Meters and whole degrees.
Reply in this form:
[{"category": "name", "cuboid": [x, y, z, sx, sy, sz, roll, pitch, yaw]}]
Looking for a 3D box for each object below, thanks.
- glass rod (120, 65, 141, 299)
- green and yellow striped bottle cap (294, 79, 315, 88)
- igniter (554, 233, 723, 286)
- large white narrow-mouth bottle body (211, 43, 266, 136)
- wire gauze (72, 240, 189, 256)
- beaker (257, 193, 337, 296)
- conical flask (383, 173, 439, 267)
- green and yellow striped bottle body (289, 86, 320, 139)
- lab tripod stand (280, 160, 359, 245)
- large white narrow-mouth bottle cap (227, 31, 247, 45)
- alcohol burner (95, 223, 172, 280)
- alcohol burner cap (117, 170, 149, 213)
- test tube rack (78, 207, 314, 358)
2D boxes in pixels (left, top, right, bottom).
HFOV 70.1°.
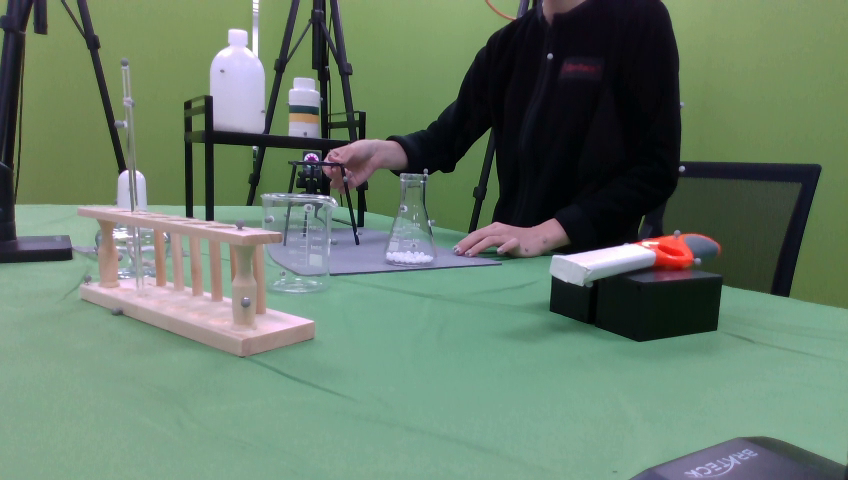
[{"category": "glass rod", "cuboid": [-0.248, -0.047, 0.513, 0.008, 0.199, 0.008, -1, 4, 0]}, {"category": "green and yellow striped bottle cap", "cuboid": [-0.248, -0.323, 1.256, 0.045, 0.020, 0.045, 3, 8, 0]}, {"category": "igniter", "cuboid": [0.214, 0.015, 0.570, 0.278, 0.025, 0.057, -5, 22, -44]}, {"category": "large white narrow-mouth bottle body", "cuboid": [-0.361, -0.302, 1.176, 0.102, 0.194, 0.102, 1, 7, 0]}, {"category": "wire gauze", "cuboid": [-0.399, 0.013, 0.820, 0.126, 0.011, 0.121, -3, 8, -37]}, {"category": "beaker", "cuboid": [-0.130, 0.003, 0.628, 0.084, 0.100, 0.074, 5, 8, 15]}, {"category": "conical flask", "cuboid": [-0.016, -0.028, 0.808, 0.075, 0.122, 0.075, 2, 8, 0]}, {"category": "green and yellow striped bottle body", "cuboid": [-0.250, -0.272, 1.261, 0.063, 0.119, 0.063, 3, 7, 0]}, {"category": "lab tripod stand", "cuboid": [-0.176, -0.062, 0.973, 0.148, 0.131, 0.148, 1, 7, 0]}, {"category": "large white narrow-mouth bottle cap", "cuboid": [-0.361, -0.388, 1.166, 0.038, 0.024, 0.037, 1, 7, 0]}, {"category": "alcohol burner", "cuboid": [-0.320, -0.016, 0.667, 0.078, 0.119, 0.078, 0, 7, 0]}, {"category": "alcohol burner cap", "cuboid": [-0.320, -0.052, 0.661, 0.034, 0.048, 0.034, -3, 0, 0]}, {"category": "test tube rack", "cuboid": [-0.197, 0.024, 0.500, 0.241, 0.085, 0.067, 8, 8, 37]}]
